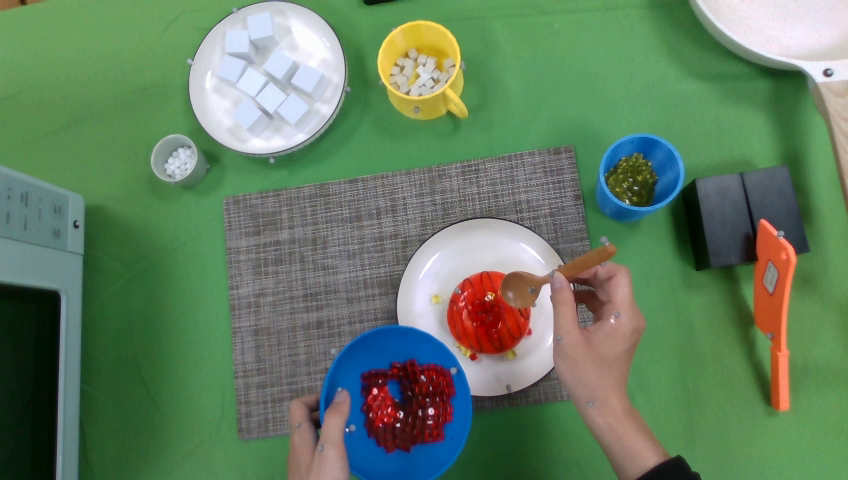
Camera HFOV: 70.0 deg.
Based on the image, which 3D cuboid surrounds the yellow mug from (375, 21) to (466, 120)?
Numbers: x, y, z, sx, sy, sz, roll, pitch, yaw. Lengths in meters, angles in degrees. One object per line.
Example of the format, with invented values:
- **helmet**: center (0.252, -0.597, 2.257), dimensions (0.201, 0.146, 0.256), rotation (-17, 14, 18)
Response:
- **yellow mug**: center (0.005, -0.197, 0.747), dimensions (0.100, 0.064, 0.130), rotation (-45, 80, -2)

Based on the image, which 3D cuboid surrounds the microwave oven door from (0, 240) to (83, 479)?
- **microwave oven door**: center (-0.453, 0.175, 0.633), dimensions (0.039, 0.245, 0.354), rotation (-5, 80, 6)

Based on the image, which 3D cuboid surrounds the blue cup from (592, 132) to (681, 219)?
- **blue cup**: center (0.230, -0.064, 0.682), dimensions (0.092, 0.100, 0.092), rotation (-1, 79, 5)

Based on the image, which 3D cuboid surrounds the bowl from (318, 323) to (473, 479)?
- **bowl**: center (-0.037, 0.164, 0.599), dimensions (0.152, 0.077, 0.150), rotation (8, 68, -20)

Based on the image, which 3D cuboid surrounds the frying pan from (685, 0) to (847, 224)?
- **frying pan**: center (0.442, -0.234, 0.683), dimensions (0.306, 0.103, 0.485), rotation (-3, 73, 7)

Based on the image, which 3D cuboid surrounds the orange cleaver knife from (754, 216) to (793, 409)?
- **orange cleaver knife**: center (0.374, 0.080, 0.654), dimensions (0.012, 0.077, 0.212), rotation (-8, 109, 6)

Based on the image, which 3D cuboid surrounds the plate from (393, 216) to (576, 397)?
- **plate**: center (0.070, 0.076, 0.707), dimensions (0.209, 0.038, 0.208), rotation (-1, 82, 7)

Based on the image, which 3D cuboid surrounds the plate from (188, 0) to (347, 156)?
- **plate**: center (-0.199, -0.206, 0.786), dimensions (0.207, 0.039, 0.207), rotation (-1, 81, 7)

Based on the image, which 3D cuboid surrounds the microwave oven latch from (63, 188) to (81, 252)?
- **microwave oven latch**: center (-0.454, -0.025, 0.767), dimensions (0.030, 0.029, 0.079), rotation (-3, 82, 6)

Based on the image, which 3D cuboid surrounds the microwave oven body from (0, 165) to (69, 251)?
- **microwave oven body**: center (-0.600, 0.147, 0.659), dimensions (0.326, 0.261, 0.440), rotation (-5, 81, 5)

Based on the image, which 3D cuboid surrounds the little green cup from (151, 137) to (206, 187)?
- **little green cup**: center (-0.313, -0.098, 0.780), dimensions (0.061, 0.039, 0.061), rotation (-1, 81, 5)

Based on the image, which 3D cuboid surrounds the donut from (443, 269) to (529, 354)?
- **donut**: center (0.071, 0.083, 0.695), dimensions (0.099, 0.048, 0.099), rotation (-1, 84, 6)

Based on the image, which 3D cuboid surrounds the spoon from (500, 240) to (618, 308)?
- **spoon**: center (0.119, 0.033, 0.562), dimensions (0.021, 0.194, 0.041), rotation (-30, 86, -21)
